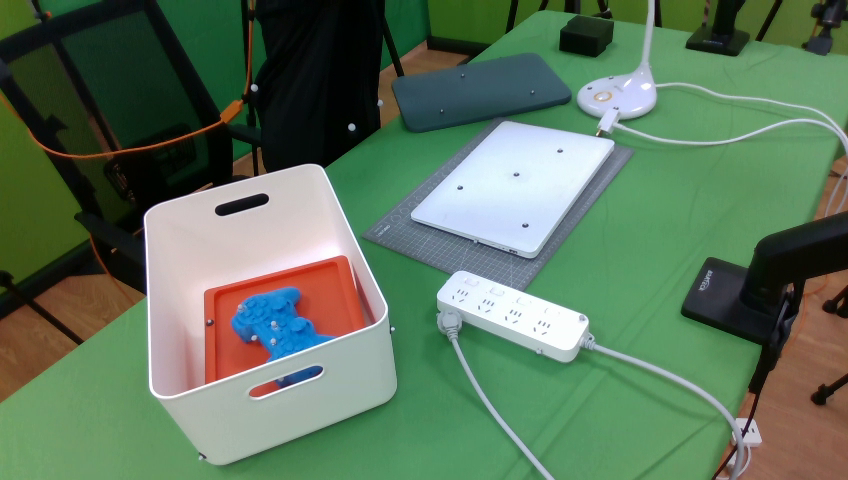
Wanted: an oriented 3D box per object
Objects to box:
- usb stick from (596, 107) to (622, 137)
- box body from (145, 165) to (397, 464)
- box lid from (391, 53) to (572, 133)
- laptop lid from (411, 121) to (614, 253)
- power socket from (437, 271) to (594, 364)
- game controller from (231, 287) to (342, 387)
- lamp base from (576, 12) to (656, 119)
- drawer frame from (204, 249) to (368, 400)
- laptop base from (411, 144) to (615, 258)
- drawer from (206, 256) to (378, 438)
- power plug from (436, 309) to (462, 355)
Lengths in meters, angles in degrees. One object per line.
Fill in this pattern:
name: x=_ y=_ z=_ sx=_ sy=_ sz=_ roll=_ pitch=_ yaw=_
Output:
usb stick: x=0.355 y=-0.223 z=1.168 sx=0.027 sy=0.059 sz=0.022 roll=37 pitch=14 yaw=34
box body: x=-0.205 y=0.080 z=0.802 sx=0.255 sy=0.161 sz=0.361 roll=-18 pitch=41 yaw=-13
box lid: x=0.122 y=-0.339 z=1.366 sx=0.372 sy=0.015 sz=0.261 roll=-12 pitch=40 yaw=-5
laptop lid: x=0.164 y=-0.112 z=1.068 sx=0.240 sy=0.013 sz=0.357 roll=19 pitch=46 yaw=30
power socket: x=0.118 y=0.102 z=0.830 sx=0.225 sy=0.033 sz=0.072 roll=20 pitch=48 yaw=28
game controller: x=-0.167 y=0.110 z=0.734 sx=0.097 sy=0.052 sz=0.154 roll=-35 pitch=47 yaw=-22
lamp base: x=0.404 y=-0.360 z=1.218 sx=0.180 sy=0.181 sz=0.159 roll=-24 pitch=43 yaw=-23
drawer frame: x=-0.174 y=0.129 z=0.790 sx=0.202 sy=0.083 sz=0.212 roll=-16 pitch=45 yaw=-8
laptop base: x=0.167 y=-0.102 z=1.074 sx=0.234 sy=0.023 sz=0.355 roll=16 pitch=45 yaw=30
drawer: x=-0.177 y=0.130 z=0.787 sx=0.195 sy=0.073 sz=0.210 roll=-14 pitch=39 yaw=-9
power plug: x=0.032 y=0.126 z=0.810 sx=0.035 sy=0.053 sz=0.072 roll=3 pitch=59 yaw=7
